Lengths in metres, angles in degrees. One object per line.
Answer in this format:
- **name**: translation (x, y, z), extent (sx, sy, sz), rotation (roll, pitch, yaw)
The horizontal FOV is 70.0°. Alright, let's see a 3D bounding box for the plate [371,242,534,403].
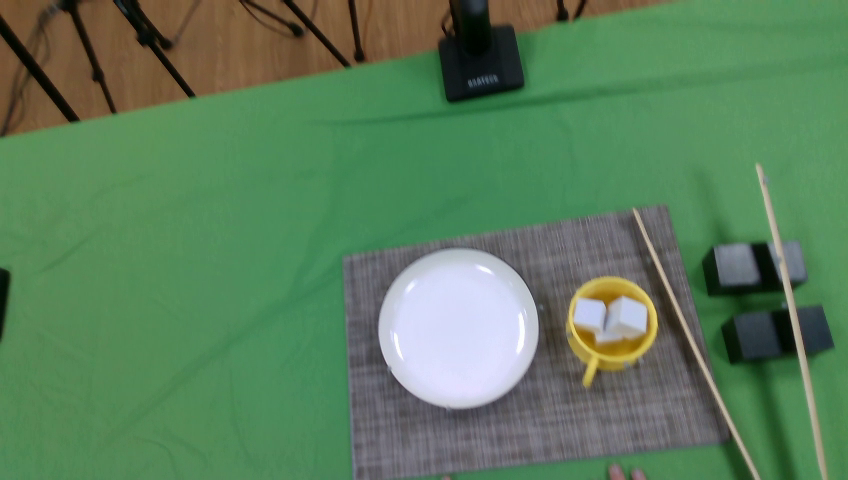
- **plate**: translation (0.036, 0.106, 0.781), extent (0.207, 0.039, 0.206), rotation (-3, 70, 8)

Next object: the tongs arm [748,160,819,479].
- **tongs arm**: translation (0.394, 0.096, 0.689), extent (0.050, 0.027, 0.382), rotation (-15, 72, 30)

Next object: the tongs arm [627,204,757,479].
- **tongs arm**: translation (0.329, 0.121, 0.730), extent (0.028, 0.028, 0.384), rotation (-28, 65, 22)

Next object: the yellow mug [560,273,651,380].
- **yellow mug**: translation (0.212, 0.110, 0.734), extent (0.099, 0.064, 0.130), rotation (22, 75, 16)
